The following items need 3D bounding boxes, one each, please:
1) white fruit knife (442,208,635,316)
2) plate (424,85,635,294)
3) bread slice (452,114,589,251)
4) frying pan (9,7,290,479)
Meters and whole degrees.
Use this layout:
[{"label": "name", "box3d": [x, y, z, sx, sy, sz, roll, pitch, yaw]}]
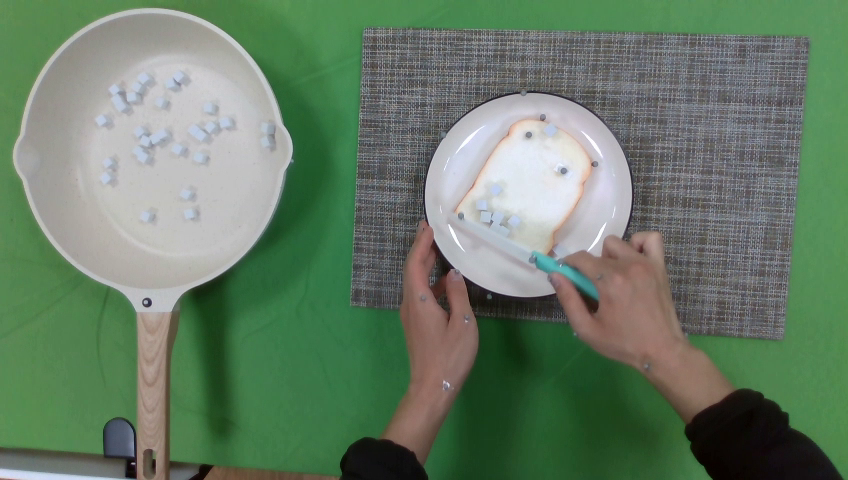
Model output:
[{"label": "white fruit knife", "box3d": [0.107, 0.017, 0.580, 0.206, 0.027, 0.016, 27, 58, 13]}, {"label": "plate", "box3d": [0.105, -0.049, 0.618, 0.207, 0.039, 0.207, 0, 93, 7]}, {"label": "bread slice", "box3d": [0.102, -0.058, 0.620, 0.107, 0.018, 0.134, 27, 97, 4]}, {"label": "frying pan", "box3d": [-0.282, 0.012, 0.640, 0.306, 0.103, 0.486, 0, 85, 8]}]
